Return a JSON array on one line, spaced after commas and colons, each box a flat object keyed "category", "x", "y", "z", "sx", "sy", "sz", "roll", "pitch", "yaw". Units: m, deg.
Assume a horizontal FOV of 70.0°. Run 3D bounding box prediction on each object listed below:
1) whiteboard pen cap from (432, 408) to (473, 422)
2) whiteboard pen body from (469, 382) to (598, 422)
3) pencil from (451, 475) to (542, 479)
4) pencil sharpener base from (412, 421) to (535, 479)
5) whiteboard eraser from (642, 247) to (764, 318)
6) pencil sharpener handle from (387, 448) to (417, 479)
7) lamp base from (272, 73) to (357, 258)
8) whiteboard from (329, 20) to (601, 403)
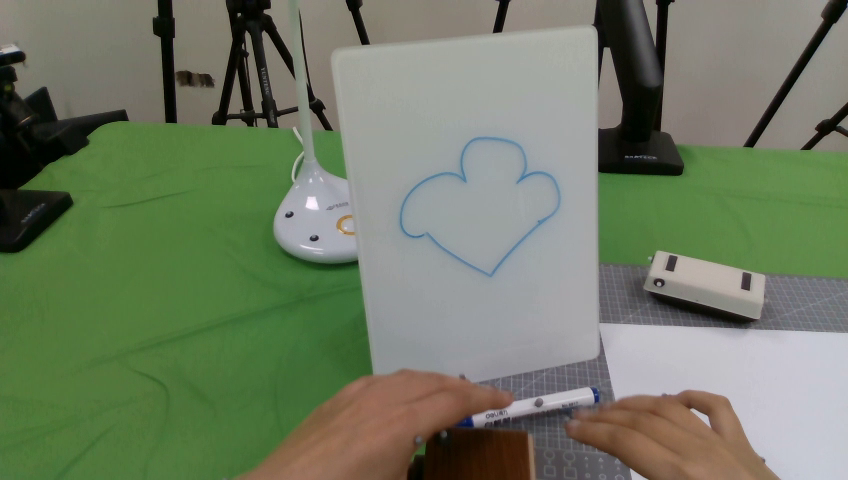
[{"category": "whiteboard pen cap", "x": 0.024, "y": 0.151, "z": 0.508, "sx": 0.033, "sy": 0.018, "sz": 0.018, "roll": -9, "pitch": 37, "yaw": -10}, {"category": "whiteboard pen body", "x": 0.082, "y": 0.142, "z": 0.518, "sx": 0.141, "sy": 0.017, "sz": 0.017, "roll": -9, "pitch": 37, "yaw": -9}, {"category": "pencil", "x": 0.114, "y": 0.159, "z": 0.385, "sx": 0.194, "sy": 0.012, "sz": 0.012, "roll": 3, "pitch": 36, "yaw": 2}, {"category": "pencil sharpener base", "x": 0.031, "y": 0.177, "z": 0.406, "sx": 0.076, "sy": 0.108, "sz": 0.061, "roll": 1, "pitch": 37, "yaw": 4}, {"category": "whiteboard eraser", "x": 0.291, "y": 0.045, "z": 0.634, "sx": 0.112, "sy": 0.042, "sz": 0.055, "roll": 16, "pitch": 40, "yaw": 21}, {"category": "pencil sharpener handle", "x": -0.020, "y": 0.168, "z": 0.398, "sx": 0.030, "sy": 0.068, "sz": 0.036, "roll": 1, "pitch": 23, "yaw": 4}, {"category": "lamp base", "x": -0.117, "y": -0.096, "z": 0.719, "sx": 0.161, "sy": 0.182, "sz": 0.177, "roll": -28, "pitch": 42, "yaw": -32}, {"category": "whiteboard", "x": 0.036, "y": -0.034, "z": 0.577, "sx": 0.217, "sy": 0.307, "sz": 0.143, "roll": -9, "pitch": 18, "yaw": -10}]
